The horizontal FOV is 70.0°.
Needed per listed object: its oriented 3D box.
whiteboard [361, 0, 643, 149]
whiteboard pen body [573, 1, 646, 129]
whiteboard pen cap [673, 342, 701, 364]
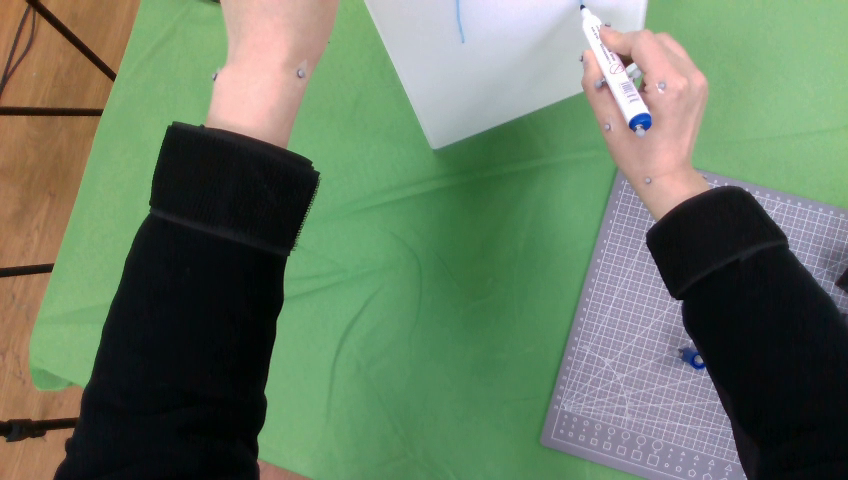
[{"bbox_3d":[0.052,-0.241,0.489,0.217,0.308,0.142,-20,68,6],"label":"whiteboard"},{"bbox_3d":[0.132,-0.135,0.445,0.017,0.017,0.139,-15,56,6],"label":"whiteboard pen body"},{"bbox_3d":[0.248,0.105,0.572,0.018,0.033,0.018,0,91,5],"label":"whiteboard pen cap"}]
